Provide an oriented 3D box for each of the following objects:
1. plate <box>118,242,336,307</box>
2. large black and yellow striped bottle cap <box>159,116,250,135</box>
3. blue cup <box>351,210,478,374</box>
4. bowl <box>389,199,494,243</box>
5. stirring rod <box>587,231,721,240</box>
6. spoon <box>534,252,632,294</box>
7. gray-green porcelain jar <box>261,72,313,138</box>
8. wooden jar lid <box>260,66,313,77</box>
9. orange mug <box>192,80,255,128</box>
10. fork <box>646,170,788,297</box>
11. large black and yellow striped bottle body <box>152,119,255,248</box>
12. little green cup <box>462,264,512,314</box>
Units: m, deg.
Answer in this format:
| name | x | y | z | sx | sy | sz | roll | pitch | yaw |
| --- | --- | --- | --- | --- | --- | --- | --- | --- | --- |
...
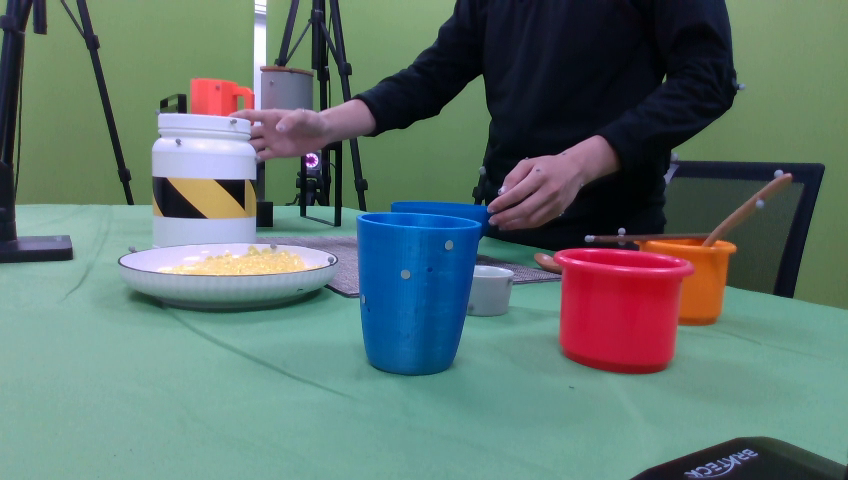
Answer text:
| name | x | y | z | sx | sy | sz | roll | pitch | yaw |
| --- | --- | --- | --- | --- | --- | --- | --- | --- | --- |
| plate | -0.194 | 0.033 | 0.615 | 0.209 | 0.038 | 0.209 | 2 | 7 | 0 |
| large black and yellow striped bottle cap | -0.292 | -0.153 | 0.810 | 0.115 | 0.019 | 0.115 | 3 | 8 | 0 |
| blue cup | -0.009 | 0.034 | 0.414 | 0.093 | 0.100 | 0.092 | 4 | 8 | 0 |
| bowl | 0.023 | -0.015 | 0.872 | 0.151 | 0.077 | 0.151 | 3 | 7 | 0 |
| stirring rod | 0.227 | -0.005 | 0.586 | 0.177 | 0.006 | 0.014 | -1 | 6 | -29 |
| spoon | 0.193 | 0.038 | 0.753 | 0.042 | 0.021 | 0.193 | 14 | 2 | -21 |
| gray-green porcelain jar | -0.284 | -0.276 | 1.253 | 0.106 | 0.126 | 0.106 | 2 | 8 | 0 |
| wooden jar lid | -0.283 | -0.339 | 1.244 | 0.108 | 0.020 | 0.108 | 5 | 9 | 0 |
| orange mug | -0.389 | -0.257 | 1.173 | 0.126 | 0.100 | 0.083 | -1 | 6 | 9 |
| fork | 0.256 | 0.004 | 0.543 | 0.028 | 0.018 | 0.207 | 3 | -36 | -9 |
| large black and yellow striped bottle body | -0.296 | -0.070 | 0.819 | 0.131 | 0.184 | 0.130 | 2 | 7 | 0 |
| little green cup | 0.053 | 0.047 | 0.580 | 0.061 | 0.038 | 0.061 | 3 | 8 | 0 |
